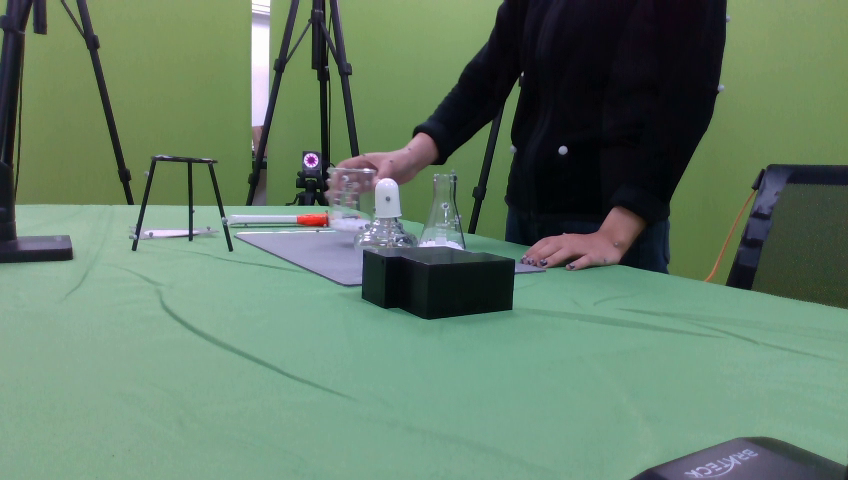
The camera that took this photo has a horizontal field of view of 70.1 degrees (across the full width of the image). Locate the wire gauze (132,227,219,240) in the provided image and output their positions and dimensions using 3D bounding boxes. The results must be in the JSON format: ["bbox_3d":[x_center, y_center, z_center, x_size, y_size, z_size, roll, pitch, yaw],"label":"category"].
[{"bbox_3d":[-0.421,-0.013,1.024,0.122,0.011,0.124,-2,7,-34],"label":"wire gauze"}]

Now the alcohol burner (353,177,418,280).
[{"bbox_3d":[-0.044,-0.014,0.710,0.078,0.119,0.078,4,9,0],"label":"alcohol burner"}]

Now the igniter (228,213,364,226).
[{"bbox_3d":[-0.252,-0.042,1.226,0.278,0.025,0.057,-3,-2,-32],"label":"igniter"}]

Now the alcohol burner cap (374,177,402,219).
[{"bbox_3d":[-0.044,-0.049,0.704,0.034,0.048,0.034,-6,10,1],"label":"alcohol burner cap"}]

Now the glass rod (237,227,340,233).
[{"bbox_3d":[-0.247,-0.020,1.124,0.201,0.008,0.008,-2,8,-34],"label":"glass rod"}]

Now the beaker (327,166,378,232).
[{"bbox_3d":[-0.116,-0.065,0.955,0.084,0.100,0.074,6,9,19],"label":"beaker"}]

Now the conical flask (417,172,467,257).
[{"bbox_3d":[0.029,-0.039,0.897,0.075,0.122,0.075,3,8,0],"label":"conical flask"}]

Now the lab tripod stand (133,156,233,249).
[{"bbox_3d":[-0.342,-0.054,0.878,0.148,0.131,0.148,4,6,0],"label":"lab tripod stand"}]
